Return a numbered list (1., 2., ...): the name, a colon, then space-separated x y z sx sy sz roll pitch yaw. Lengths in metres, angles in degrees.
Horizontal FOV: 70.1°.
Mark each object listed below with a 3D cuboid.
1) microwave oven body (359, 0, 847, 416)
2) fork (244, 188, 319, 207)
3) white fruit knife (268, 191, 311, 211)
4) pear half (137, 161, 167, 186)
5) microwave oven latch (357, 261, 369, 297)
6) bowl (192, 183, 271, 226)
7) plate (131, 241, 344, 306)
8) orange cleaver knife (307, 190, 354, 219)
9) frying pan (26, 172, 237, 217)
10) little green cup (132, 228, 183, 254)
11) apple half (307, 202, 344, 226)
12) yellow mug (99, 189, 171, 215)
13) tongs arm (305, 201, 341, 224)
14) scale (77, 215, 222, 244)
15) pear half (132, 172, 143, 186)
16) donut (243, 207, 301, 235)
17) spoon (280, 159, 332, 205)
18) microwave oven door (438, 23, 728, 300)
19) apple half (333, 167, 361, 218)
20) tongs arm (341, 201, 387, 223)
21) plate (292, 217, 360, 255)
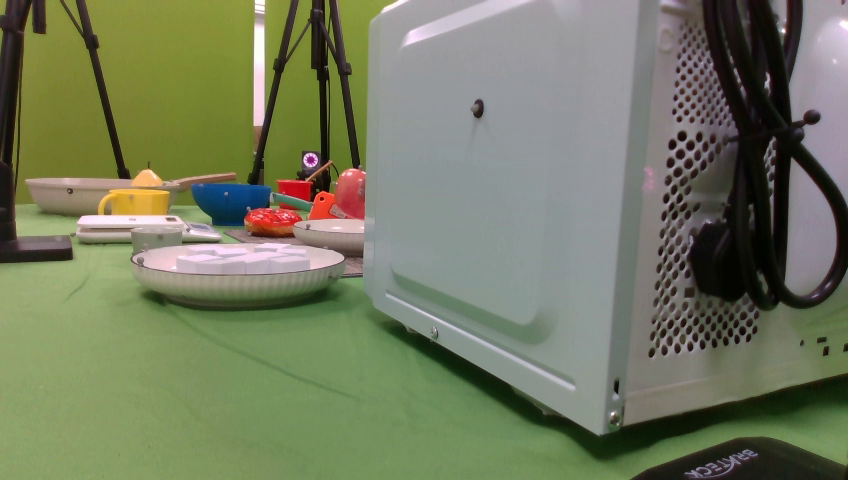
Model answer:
1. microwave oven body: 0.211 -0.047 0.474 0.444 0.260 0.324 -1 7 -28
2. fork: -0.356 -0.105 1.526 0.208 0.018 0.028 16 -6 -41
3. white fruit knife: -0.364 -0.105 1.464 0.208 0.027 0.016 15 -1 -34
4. pear half: -0.602 -0.120 1.354 0.056 0.110 0.076 4 11 6
5. microwave oven latch: -0.019 0.033 0.530 0.079 0.029 0.030 -1 7 -26
6. bowl: -0.382 -0.071 1.202 0.151 0.077 0.151 3 7 0
7. plate: -0.187 0.033 0.625 0.208 0.039 0.207 2 8 0
8. orange cleaver knife: -0.118 -0.056 1.153 0.212 0.077 0.012 -1 21 -23
9. frying pan: -0.624 -0.118 1.387 0.305 0.102 0.490 8 17 32
10. little green cup: -0.342 0.006 0.779 0.061 0.038 0.061 2 8 0
11. apple half: -0.193 -0.047 1.224 0.081 0.032 0.081 -22 -6 -2
12. yellow mug: -0.519 -0.055 1.080 0.099 0.064 0.131 7 9 26
13. tongs arm: -0.234 -0.067 1.415 0.028 0.028 0.387 -5 7 1
14. scale: -0.434 -0.019 0.963 0.202 0.031 0.148 -1 9 -27
15. pear half: -0.638 -0.113 1.361 0.031 0.088 0.070 5 11 4
16. donut: -0.261 -0.032 1.043 0.099 0.048 0.099 4 9 0
17. spoon: -0.316 -0.159 1.640 0.194 0.022 0.041 -50 32 -20
18. microwave oven door: 0.181 -0.073 0.621 0.358 0.243 0.039 -2 8 -29
19. apple half: -0.093 -0.069 0.916 0.081 0.074 0.053 21 6 -32
20. tongs arm: -0.149 -0.069 1.430 0.051 0.026 0.383 -4 8 -14
21. plate: -0.098 -0.007 0.928 0.209 0.038 0.209 2 8 0
